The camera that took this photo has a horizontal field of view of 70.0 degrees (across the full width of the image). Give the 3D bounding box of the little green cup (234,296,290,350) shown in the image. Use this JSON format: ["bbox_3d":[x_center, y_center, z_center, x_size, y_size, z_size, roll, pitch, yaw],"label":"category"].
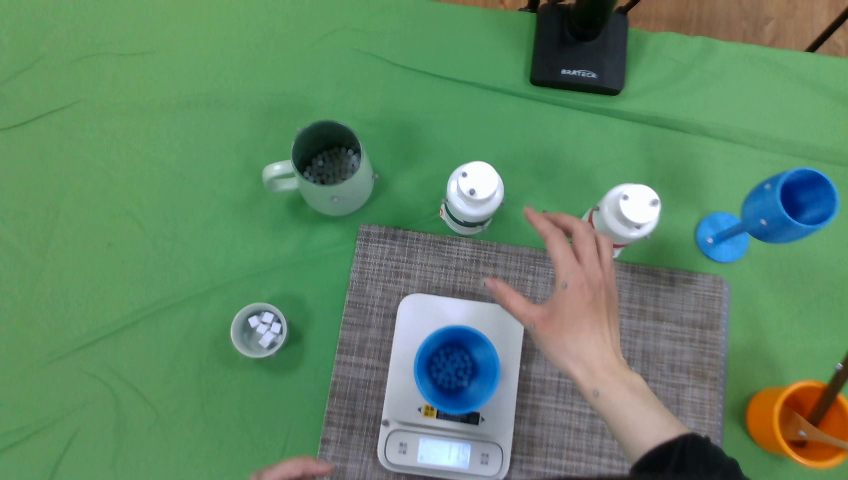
[{"bbox_3d":[-0.183,0.097,0.697,0.061,0.039,0.061,1,78,-3],"label":"little green cup"}]

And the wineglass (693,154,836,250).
[{"bbox_3d":[0.369,-0.037,0.673,0.074,0.173,0.073,0,78,-1],"label":"wineglass"}]

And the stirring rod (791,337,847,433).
[{"bbox_3d":[0.435,0.150,0.650,0.014,0.177,0.006,14,37,14],"label":"stirring rod"}]

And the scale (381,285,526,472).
[{"bbox_3d":[0.035,0.156,0.692,0.149,0.031,0.200,7,79,0],"label":"scale"}]

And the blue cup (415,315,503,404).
[{"bbox_3d":[0.033,0.123,0.632,0.093,0.100,0.092,0,81,-1],"label":"blue cup"}]

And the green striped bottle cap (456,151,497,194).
[{"bbox_3d":[0.056,-0.071,0.641,0.044,0.020,0.044,0,78,-1],"label":"green striped bottle cap"}]

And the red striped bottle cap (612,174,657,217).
[{"bbox_3d":[0.224,-0.048,0.643,0.044,0.018,0.044,0,77,-2],"label":"red striped bottle cap"}]

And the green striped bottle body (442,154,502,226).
[{"bbox_3d":[0.054,-0.059,0.695,0.063,0.119,0.063,0,78,-2],"label":"green striped bottle body"}]

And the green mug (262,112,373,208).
[{"bbox_3d":[-0.124,-0.087,0.703,0.125,0.105,0.092,-14,79,-4],"label":"green mug"}]

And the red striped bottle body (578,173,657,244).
[{"bbox_3d":[0.223,-0.037,0.696,0.063,0.120,0.063,0,78,-2],"label":"red striped bottle body"}]

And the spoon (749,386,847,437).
[{"bbox_3d":[0.446,0.203,0.640,0.022,0.192,0.041,26,84,-40],"label":"spoon"}]
